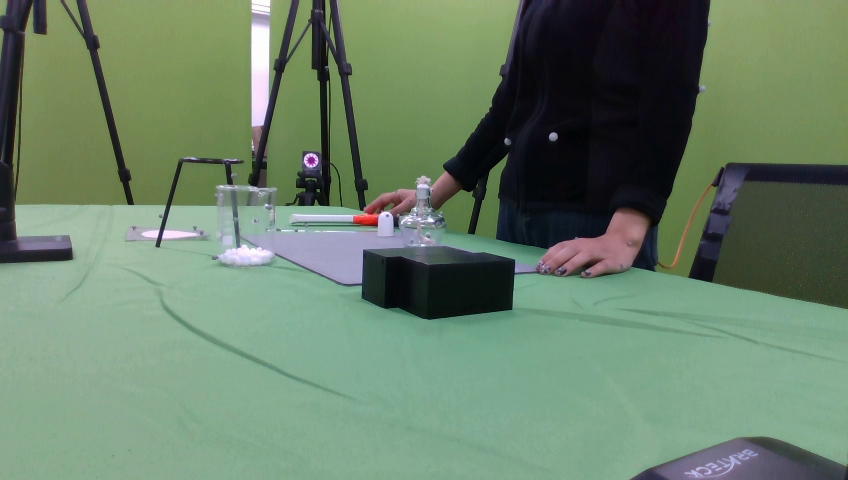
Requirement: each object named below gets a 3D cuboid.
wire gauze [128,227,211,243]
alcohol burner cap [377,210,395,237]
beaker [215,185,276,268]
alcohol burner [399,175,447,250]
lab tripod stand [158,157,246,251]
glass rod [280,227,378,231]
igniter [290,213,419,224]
[{"bbox_3d":[-0.420,-0.010,0.999,0.122,0.011,0.124,-2,10,-24],"label":"wire gauze"},{"bbox_3d":[-0.069,-0.031,1.112,0.034,0.048,0.034,2,9,0],"label":"alcohol burner cap"},{"bbox_3d":[-0.226,-0.019,0.773,0.074,0.100,0.084,5,7,14],"label":"beaker"},{"bbox_3d":[-0.001,-0.044,0.961,0.078,0.119,0.078,0,8,0],"label":"alcohol burner"},{"bbox_3d":[-0.314,-0.055,0.891,0.148,0.131,0.148,2,9,0],"label":"lab tripod stand"},{"bbox_3d":[-0.175,-0.021,1.161,0.200,0.008,0.008,0,7,-15],"label":"glass rod"},{"bbox_3d":[-0.143,-0.046,1.288,0.278,0.025,0.057,-1,-4,-24],"label":"igniter"}]
